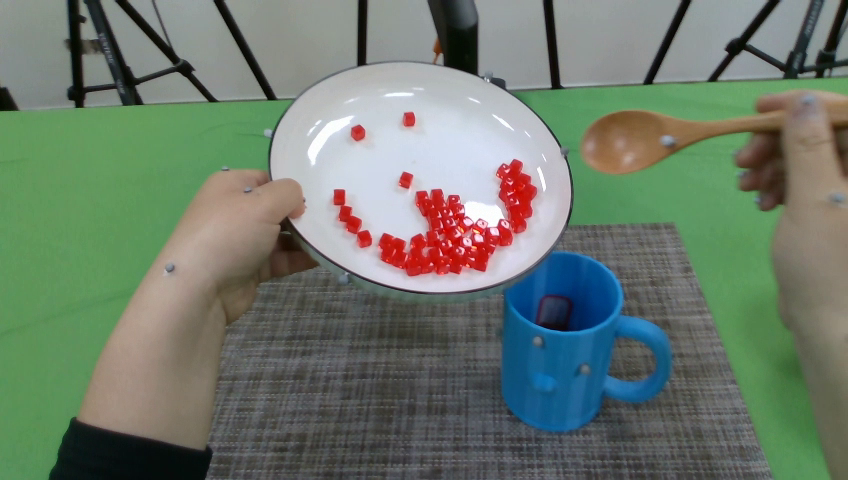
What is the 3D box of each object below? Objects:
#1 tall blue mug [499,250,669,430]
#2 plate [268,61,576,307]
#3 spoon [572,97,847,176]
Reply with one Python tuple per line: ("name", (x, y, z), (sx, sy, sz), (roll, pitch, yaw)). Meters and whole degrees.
("tall blue mug", (0.107, 0.071, 0.428), (0.107, 0.109, 0.077), (-6, 41, -1))
("plate", (-0.001, -0.042, 0.421), (0.208, 0.039, 0.205), (5, 55, -7))
("spoon", (0.167, -0.061, 0.328), (0.022, 0.041, 0.192), (7, -4, -40))
